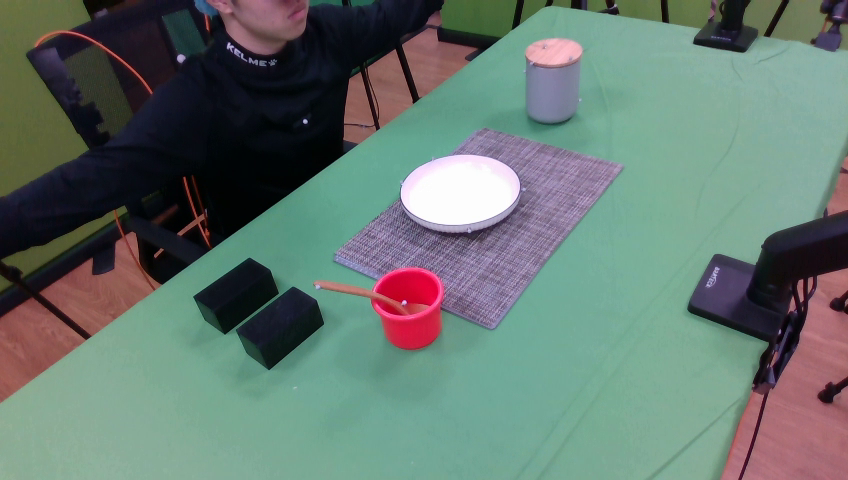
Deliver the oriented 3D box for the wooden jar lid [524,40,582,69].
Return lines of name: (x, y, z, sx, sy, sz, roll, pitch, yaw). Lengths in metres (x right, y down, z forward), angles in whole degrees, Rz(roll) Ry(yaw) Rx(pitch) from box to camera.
wooden jar lid: (0.249, -0.354, 1.167, 0.108, 0.021, 0.108, -4, 44, 5)

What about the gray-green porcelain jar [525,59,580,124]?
gray-green porcelain jar: (0.256, -0.306, 1.209, 0.106, 0.127, 0.105, -4, 41, 4)

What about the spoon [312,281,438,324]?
spoon: (-0.060, 0.078, 0.793, 0.195, 0.021, 0.041, 24, 25, -35)

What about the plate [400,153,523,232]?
plate: (0.065, -0.078, 1.034, 0.207, 0.039, 0.206, -4, 41, 4)
